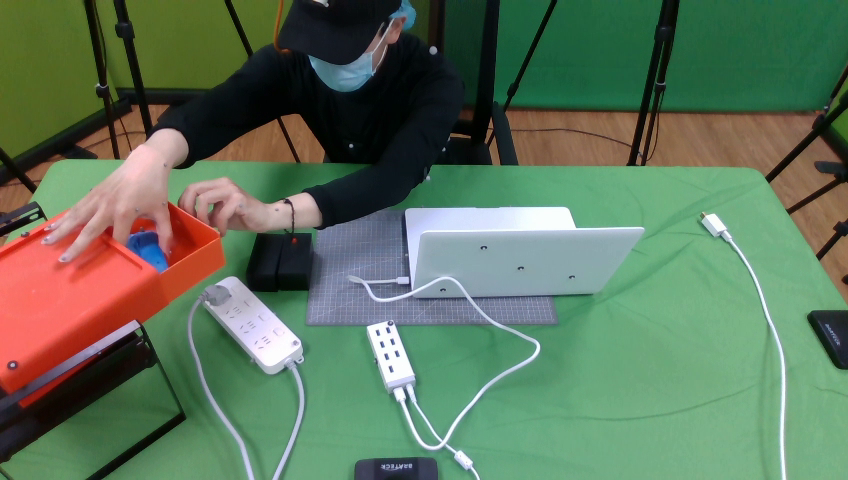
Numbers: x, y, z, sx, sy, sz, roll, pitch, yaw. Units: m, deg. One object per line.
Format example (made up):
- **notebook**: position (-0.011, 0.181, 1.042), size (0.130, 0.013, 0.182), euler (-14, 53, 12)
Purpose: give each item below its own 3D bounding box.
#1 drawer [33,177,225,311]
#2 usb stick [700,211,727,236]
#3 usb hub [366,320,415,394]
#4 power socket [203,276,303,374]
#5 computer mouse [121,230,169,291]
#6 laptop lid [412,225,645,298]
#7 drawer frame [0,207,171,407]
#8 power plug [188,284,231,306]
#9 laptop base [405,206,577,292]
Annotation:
- **drawer**: position (-0.429, 0.022, 0.858), size (0.193, 0.073, 0.211), euler (31, 50, 22)
- **usb stick**: position (0.606, -0.038, 1.273), size (0.027, 0.021, 0.059), euler (-18, 56, -20)
- **usb hub**: position (-0.056, 0.192, 1.009), size (0.049, 0.025, 0.124), euler (-12, 49, -16)
- **power socket**: position (-0.295, 0.141, 1.034), size (0.072, 0.033, 0.225), euler (-34, 58, -30)
- **computer mouse**: position (-0.407, 0.024, 0.877), size (0.063, 0.041, 0.116), euler (-20, 45, -22)
- **laptop lid**: position (0.161, 0.042, 1.012), size (0.357, 0.242, 0.013), euler (0, 59, -7)
- **drawer frame**: position (-0.489, 0.077, 0.796), size (0.201, 0.083, 0.213), euler (29, 50, 21)
- **power plug**: position (-0.368, 0.100, 1.037), size (0.072, 0.053, 0.035), euler (-22, 53, -26)
- **laptop base**: position (0.143, 0.018, 1.195), size (0.355, 0.023, 0.234), euler (-1, 43, -6)
